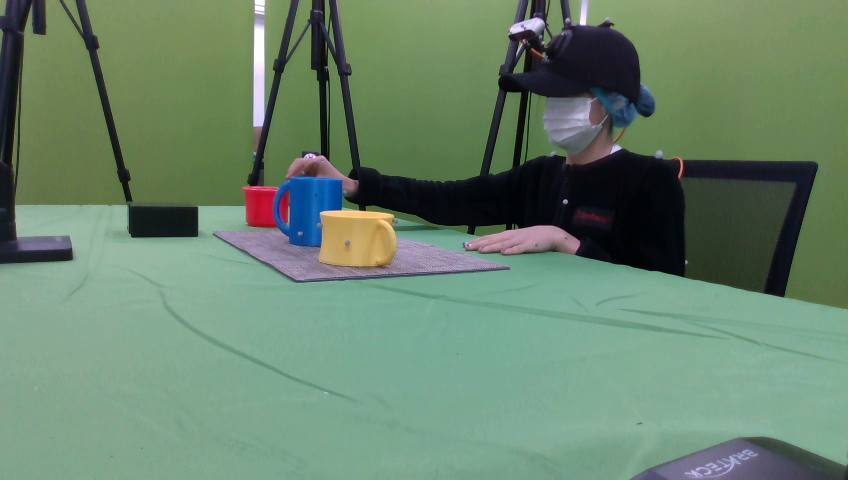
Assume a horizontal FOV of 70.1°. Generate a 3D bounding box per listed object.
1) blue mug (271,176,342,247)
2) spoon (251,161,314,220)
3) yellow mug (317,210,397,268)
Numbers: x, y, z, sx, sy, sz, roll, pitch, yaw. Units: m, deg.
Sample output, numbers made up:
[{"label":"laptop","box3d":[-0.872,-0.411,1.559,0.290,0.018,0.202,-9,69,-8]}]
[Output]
[{"label":"blue mug","box3d":[-0.190,-0.047,0.963,0.116,0.106,0.082,4,7,13]},{"label":"spoon","box3d":[-0.280,-0.096,1.193,0.193,0.021,0.042,-43,-14,26]},{"label":"yellow mug","box3d":[-0.080,-0.001,0.796,0.100,0.064,0.130,-4,11,-45]}]
